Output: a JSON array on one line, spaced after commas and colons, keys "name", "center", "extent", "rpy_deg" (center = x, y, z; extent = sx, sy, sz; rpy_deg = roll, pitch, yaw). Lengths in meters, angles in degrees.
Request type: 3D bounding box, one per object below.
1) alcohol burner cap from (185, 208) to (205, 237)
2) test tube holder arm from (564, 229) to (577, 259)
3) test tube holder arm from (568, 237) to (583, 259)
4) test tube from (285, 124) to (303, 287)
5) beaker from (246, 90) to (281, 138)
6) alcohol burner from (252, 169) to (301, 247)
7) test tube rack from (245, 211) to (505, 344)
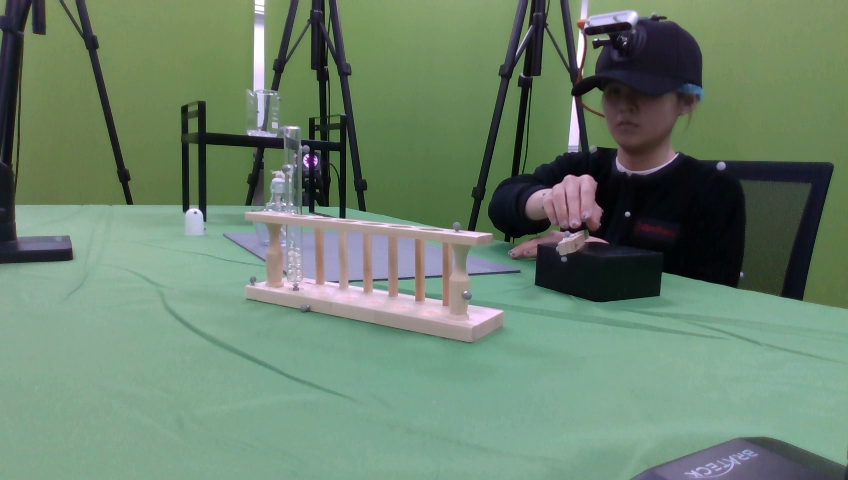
[{"name": "alcohol burner cap", "center": [-0.391, -0.031, 1.032], "extent": [0.034, 0.048, 0.034], "rpy_deg": [3, 8, 0]}, {"name": "test tube holder arm", "center": [0.172, 0.002, 0.706], "extent": [0.013, 0.015, 0.179], "rpy_deg": [7, 9, 13]}, {"name": "test tube holder arm", "center": [0.165, 0.008, 0.661], "extent": [0.010, 0.015, 0.088], "rpy_deg": [8, 9, 18]}, {"name": "test tube", "center": [-0.120, -0.030, 0.558], "extent": [0.017, 0.150, 0.017], "rpy_deg": [2, 10, 0]}, {"name": "beaker", "center": [-0.354, -0.275, 1.322], "extent": [0.074, 0.100, 0.084], "rpy_deg": [4, 8, 12]}, {"name": "alcohol burner", "center": [-0.228, -0.050, 0.936], "extent": [0.078, 0.119, 0.078], "rpy_deg": [1, 7, 0]}, {"name": "test tube rack", "center": [-0.049, 0.025, 0.547], "extent": [0.241, 0.085, 0.067], "rpy_deg": [7, 8, 29]}]
